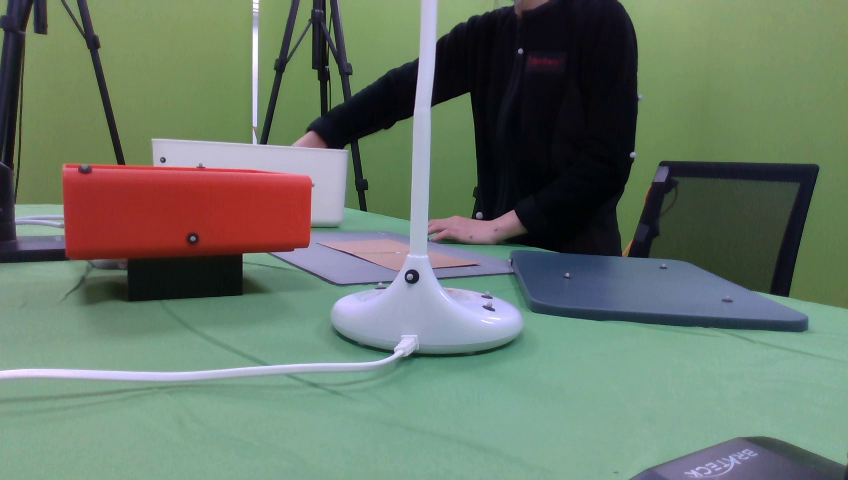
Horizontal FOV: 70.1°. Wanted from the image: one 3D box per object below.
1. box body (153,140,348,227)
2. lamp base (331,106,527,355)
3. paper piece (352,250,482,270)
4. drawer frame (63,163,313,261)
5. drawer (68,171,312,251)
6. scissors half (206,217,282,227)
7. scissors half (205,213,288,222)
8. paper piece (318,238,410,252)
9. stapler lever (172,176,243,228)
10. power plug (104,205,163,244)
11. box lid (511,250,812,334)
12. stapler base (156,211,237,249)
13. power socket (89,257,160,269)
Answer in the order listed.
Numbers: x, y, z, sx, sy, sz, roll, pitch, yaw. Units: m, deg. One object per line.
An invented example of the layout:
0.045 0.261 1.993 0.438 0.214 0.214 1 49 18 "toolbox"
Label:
-0.357 -0.119 1.264 0.365 0.160 0.253 0 7 -18 "box body"
0.006 -0.012 0.478 0.161 0.180 0.179 2 10 2 "lamp base"
-0.013 0.026 0.842 0.139 0.008 0.135 0 11 -32 "paper piece"
-0.248 -0.036 0.626 0.215 0.082 0.200 -3 9 -31 "drawer frame"
-0.247 -0.036 0.629 0.213 0.073 0.193 -3 9 -30 "drawer"
-0.366 -0.040 1.214 0.175 0.013 0.040 5 21 21 "scissors half"
-0.361 -0.046 1.233 0.175 0.013 0.040 0 14 4 "scissors half"
-0.083 0.008 0.952 0.136 0.004 0.134 -2 9 -31 "paper piece"
-0.217 -0.041 0.618 0.027 0.040 0.118 19 11 -2 "stapler lever"
-0.390 -0.021 0.815 0.073 0.052 0.035 -1 7 -27 "power plug"
0.246 0.052 0.733 0.263 0.015 0.371 4 7 3 "box lid"
-0.227 -0.017 0.624 0.041 0.024 0.130 19 10 -2 "stapler base"
-0.409 0.004 0.793 0.072 0.032 0.225 -2 8 -38 "power socket"
